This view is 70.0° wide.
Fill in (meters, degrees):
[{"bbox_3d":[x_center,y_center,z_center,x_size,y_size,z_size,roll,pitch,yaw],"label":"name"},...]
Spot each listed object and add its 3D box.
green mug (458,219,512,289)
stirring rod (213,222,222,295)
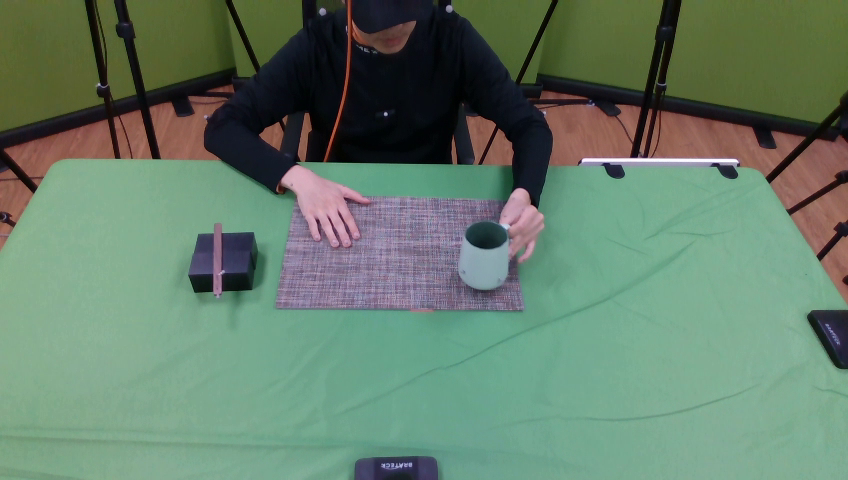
[{"bbox_3d":[0.120,0.018,1.103,0.092,0.105,0.125,29,50,27],"label":"green mug"},{"bbox_3d":[-0.369,0.030,1.082,0.014,0.006,0.175,-8,48,-11],"label":"stirring rod"}]
